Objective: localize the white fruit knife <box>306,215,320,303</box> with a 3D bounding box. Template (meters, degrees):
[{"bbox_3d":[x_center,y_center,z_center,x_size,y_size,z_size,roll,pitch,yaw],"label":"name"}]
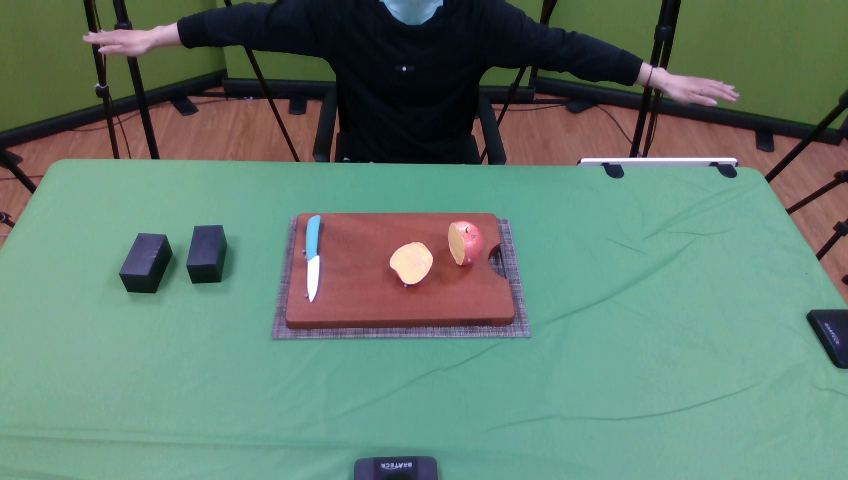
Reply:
[{"bbox_3d":[-0.206,0.032,1.113,0.027,0.016,0.206,-12,47,5],"label":"white fruit knife"}]

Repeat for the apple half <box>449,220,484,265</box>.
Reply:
[{"bbox_3d":[0.083,0.004,1.121,0.053,0.075,0.080,-10,43,-19],"label":"apple half"}]

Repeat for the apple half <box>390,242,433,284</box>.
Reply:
[{"bbox_3d":[-0.017,0.045,1.096,0.081,0.033,0.081,-6,64,13],"label":"apple half"}]
